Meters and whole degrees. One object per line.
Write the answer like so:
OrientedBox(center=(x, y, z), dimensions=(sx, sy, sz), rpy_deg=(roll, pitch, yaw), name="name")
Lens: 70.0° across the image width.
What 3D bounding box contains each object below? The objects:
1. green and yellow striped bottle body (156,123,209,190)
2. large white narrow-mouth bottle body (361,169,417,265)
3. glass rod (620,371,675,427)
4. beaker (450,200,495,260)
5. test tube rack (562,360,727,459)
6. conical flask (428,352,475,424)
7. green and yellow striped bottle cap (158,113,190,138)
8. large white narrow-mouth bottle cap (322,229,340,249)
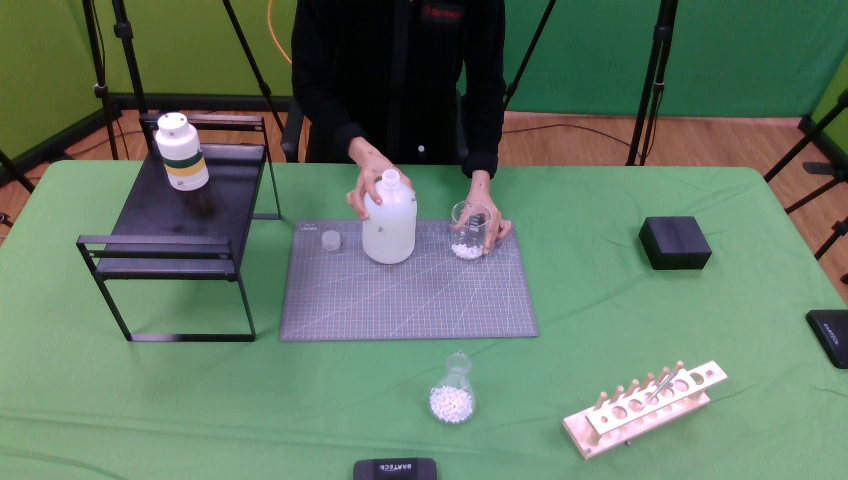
OrientedBox(center=(-0.395, -0.145, 0.989), dimensions=(0.063, 0.120, 0.063), rpy_deg=(2, 46, -2), name="green and yellow striped bottle body")
OrientedBox(center=(-0.065, -0.049, 1.117), dimensions=(0.102, 0.195, 0.101), rpy_deg=(4, 47, -4), name="large white narrow-mouth bottle body")
OrientedBox(center=(0.316, 0.230, 0.863), dimensions=(0.008, 0.200, 0.008), rpy_deg=(3, 54, -3), name="glass rod")
OrientedBox(center=(0.089, -0.016, 1.161), dimensions=(0.084, 0.101, 0.073), rpy_deg=(7, 47, 5), name="beaker")
OrientedBox(center=(0.341, 0.247, 0.940), dimensions=(0.243, 0.085, 0.066), rpy_deg=(-16, 49, -18), name="test tube rack")
OrientedBox(center=(0.046, 0.220, 0.920), dimensions=(0.075, 0.122, 0.075), rpy_deg=(2, 46, -2), name="conical flask")
OrientedBox(center=(-0.393, -0.180, 0.951), dimensions=(0.045, 0.020, 0.045), rpy_deg=(2, 44, -2), name="green and yellow striped bottle cap")
OrientedBox(center=(-0.182, -0.003, 1.184), dimensions=(0.038, 0.024, 0.037), rpy_deg=(3, 45, -3), name="large white narrow-mouth bottle cap")
